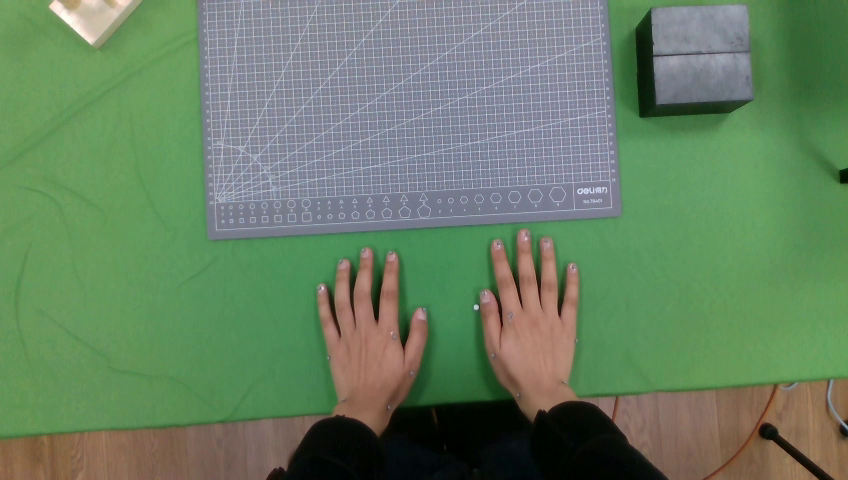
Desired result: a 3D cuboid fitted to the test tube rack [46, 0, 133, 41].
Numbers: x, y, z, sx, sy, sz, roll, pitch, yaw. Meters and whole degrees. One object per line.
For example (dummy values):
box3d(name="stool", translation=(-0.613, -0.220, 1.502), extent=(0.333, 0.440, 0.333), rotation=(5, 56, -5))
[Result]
box3d(name="test tube rack", translation=(-0.307, -0.332, 0.629), extent=(0.066, 0.085, 0.242), rotation=(42, 88, 2))
